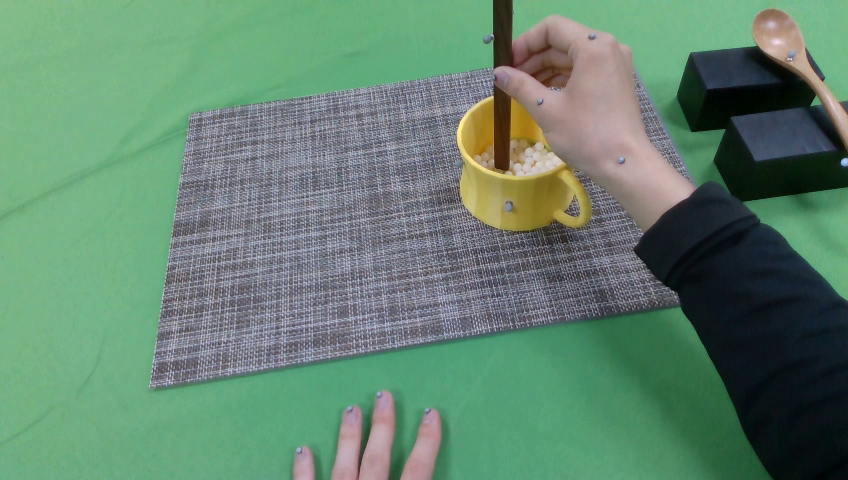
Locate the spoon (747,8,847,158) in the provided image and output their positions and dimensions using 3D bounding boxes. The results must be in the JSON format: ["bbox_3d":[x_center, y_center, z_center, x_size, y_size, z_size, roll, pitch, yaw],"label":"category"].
[{"bbox_3d":[0.314,-0.120,0.490,0.041,0.022,0.191,-9,56,-1],"label":"spoon"}]

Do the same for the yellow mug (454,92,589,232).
[{"bbox_3d":[0.085,-0.057,0.496,0.100,0.064,0.129,-35,59,-19],"label":"yellow mug"}]

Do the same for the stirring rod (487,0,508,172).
[{"bbox_3d":[0.056,-0.117,0.462,0.014,0.178,0.006,13,54,16],"label":"stirring rod"}]
